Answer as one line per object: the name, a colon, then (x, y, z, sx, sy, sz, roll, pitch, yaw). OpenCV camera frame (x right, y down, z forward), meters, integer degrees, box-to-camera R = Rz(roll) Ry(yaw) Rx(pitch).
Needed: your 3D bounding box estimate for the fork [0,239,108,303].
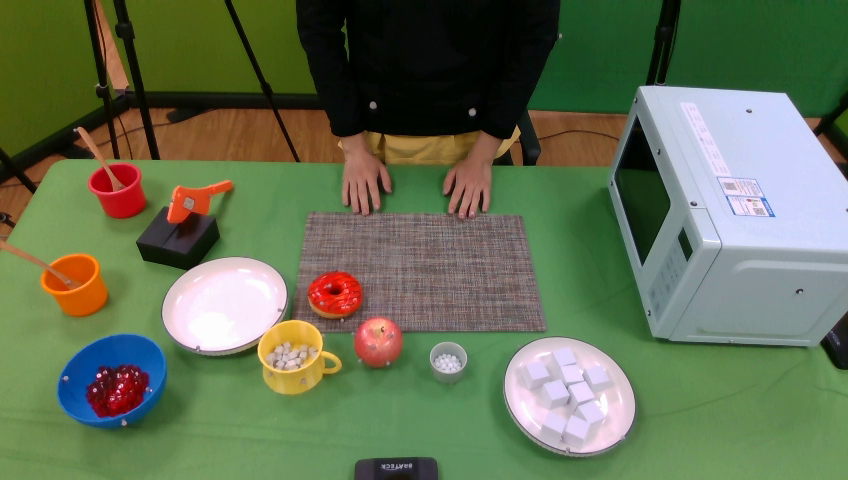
fork: (-0.633, 0.048, 1.017, 0.208, 0.018, 0.028, 40, 40, -27)

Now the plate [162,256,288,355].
plate: (-0.341, 0.115, 1.051, 0.209, 0.038, 0.208, 2, 46, -2)

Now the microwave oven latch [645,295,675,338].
microwave oven latch: (0.412, 0.134, 1.061, 0.030, 0.029, 0.078, 3, 45, 0)

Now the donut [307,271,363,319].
donut: (-0.157, 0.097, 1.072, 0.099, 0.048, 0.098, 4, 45, -3)

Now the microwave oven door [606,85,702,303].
microwave oven door: (0.423, -0.094, 1.140, 0.039, 0.245, 0.353, 2, 46, -1)

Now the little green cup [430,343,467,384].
little green cup: (0.039, 0.203, 0.994, 0.061, 0.039, 0.061, 2, 46, -2)

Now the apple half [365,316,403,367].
apple half: (-0.063, 0.165, 1.000, 0.053, 0.075, 0.080, -16, 45, -24)

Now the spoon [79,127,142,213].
spoon: (-0.625, -0.139, 1.203, 0.041, 0.021, 0.194, -33, 100, -26)

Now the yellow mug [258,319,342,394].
yellow mug: (-0.196, 0.189, 0.972, 0.131, 0.064, 0.099, 9, 46, 4)

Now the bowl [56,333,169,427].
bowl: (-0.456, 0.222, 0.911, 0.151, 0.077, 0.150, 3, 46, -2)

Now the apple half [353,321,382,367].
apple half: (-0.098, 0.177, 0.984, 0.033, 0.081, 0.081, -17, 49, -25)

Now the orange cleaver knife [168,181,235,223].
orange cleaver knife: (-0.436, -0.078, 1.196, 0.012, 0.077, 0.211, 15, 15, 10)

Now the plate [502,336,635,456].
plate: (0.225, 0.248, 0.963, 0.208, 0.039, 0.206, 2, 46, -2)

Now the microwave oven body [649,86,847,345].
microwave oven body: (0.567, -0.053, 1.118, 0.326, 0.261, 0.439, 2, 45, -1)
